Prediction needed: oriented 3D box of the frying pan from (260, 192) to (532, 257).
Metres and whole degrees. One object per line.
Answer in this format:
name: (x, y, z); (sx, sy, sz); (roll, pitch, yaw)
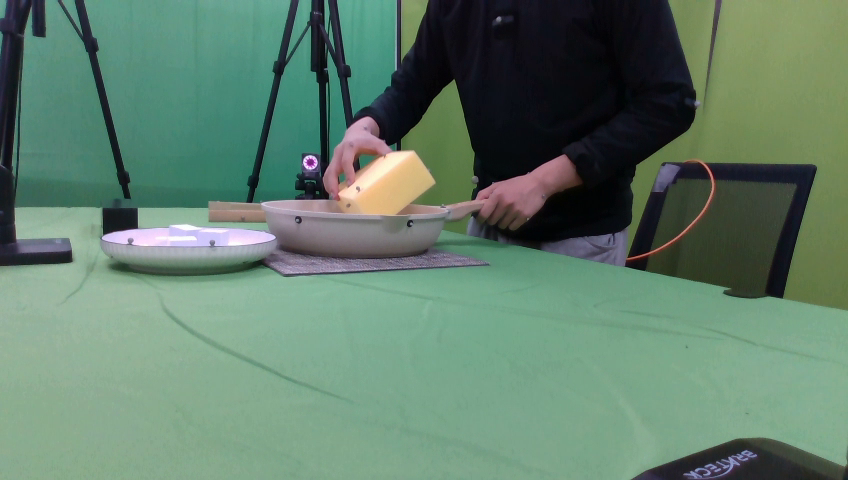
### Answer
frying pan: (-0.017, -0.043, 1.006); (0.490, 0.102, 0.305); (-11, 13, -26)

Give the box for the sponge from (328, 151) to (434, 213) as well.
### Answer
sponge: (-0.077, -0.085, 0.985); (0.118, 0.061, 0.206); (-39, 18, -11)

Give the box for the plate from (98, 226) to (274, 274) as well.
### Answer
plate: (-0.301, 0.012, 0.778); (0.208, 0.039, 0.207); (2, 7, 0)

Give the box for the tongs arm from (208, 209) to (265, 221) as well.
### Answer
tongs arm: (-0.280, -0.057, 1.355); (0.389, 0.028, 0.028); (-2, 5, -28)

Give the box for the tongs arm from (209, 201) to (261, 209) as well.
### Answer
tongs arm: (-0.306, -0.071, 1.430); (0.386, 0.026, 0.050); (1, 8, -15)
